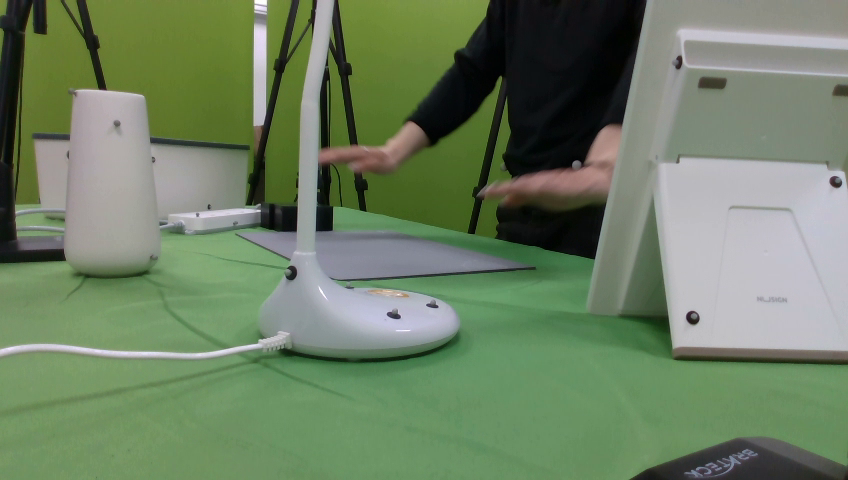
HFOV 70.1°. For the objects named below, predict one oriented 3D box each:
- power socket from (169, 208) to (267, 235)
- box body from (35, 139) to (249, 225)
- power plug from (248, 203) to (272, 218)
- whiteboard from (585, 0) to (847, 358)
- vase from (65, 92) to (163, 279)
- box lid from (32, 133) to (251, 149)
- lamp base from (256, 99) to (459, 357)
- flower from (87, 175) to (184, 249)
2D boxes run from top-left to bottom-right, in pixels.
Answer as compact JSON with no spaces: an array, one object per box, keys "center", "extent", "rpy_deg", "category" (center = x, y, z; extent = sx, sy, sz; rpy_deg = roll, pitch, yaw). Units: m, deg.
[{"center":[-0.379,-0.038,1.130],"extent":[0.072,0.032,0.227],"rpy_deg":[4,8,19],"category":"power socket"},{"center":[-0.561,-0.127,1.258],"extent":[0.254,0.160,0.365],"rpy_deg":[4,8,13],"category":"box body"},{"center":[-0.361,-0.049,1.289],"extent":[0.052,0.035,0.072],"rpy_deg":[13,52,28],"category":"power plug"},{"center":[0.269,-0.034,0.466],"extent":[0.217,0.305,0.143],"rpy_deg":[2,27,-1],"category":"whiteboard"},{"center":[-0.347,-0.060,0.673],"extent":[0.098,0.200,0.098],"rpy_deg":[1,7,0],"category":"vase"},{"center":[-0.558,-0.200,1.250],"extent":[0.263,0.015,0.372],"rpy_deg":[5,8,13],"category":"box lid"},{"center":[-0.055,-0.013,0.463],"extent":[0.160,0.180,0.180],"rpy_deg":[6,11,27],"category":"lamp base"},{"center":[-0.610,-0.063,1.291],"extent":[0.044,0.038,0.361],"rpy_deg":[-5,25,9],"category":"flower"}]
